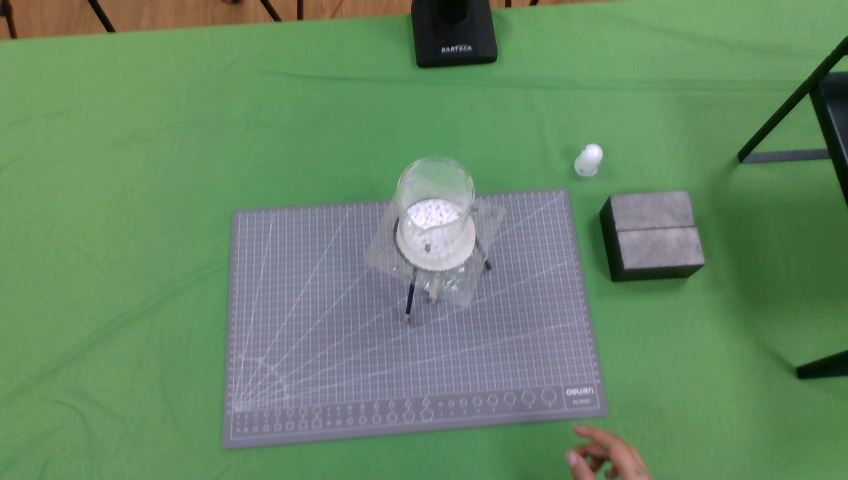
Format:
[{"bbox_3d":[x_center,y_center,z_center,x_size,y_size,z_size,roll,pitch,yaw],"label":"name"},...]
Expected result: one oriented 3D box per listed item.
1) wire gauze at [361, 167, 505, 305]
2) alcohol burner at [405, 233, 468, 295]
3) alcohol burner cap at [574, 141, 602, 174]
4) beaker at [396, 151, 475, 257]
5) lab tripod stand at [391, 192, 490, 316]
[{"bbox_3d":[0.012,-0.008,0.651,0.125,0.011,0.121,24,71,5],"label":"wire gauze"},{"bbox_3d":[0.016,0.023,0.720,0.078,0.120,0.077,1,70,-2],"label":"alcohol burner"},{"bbox_3d":[0.224,-0.114,0.819,0.034,0.048,0.033,0,68,0],"label":"alcohol burner cap"},{"bbox_3d":[0.008,-0.029,0.607,0.074,0.101,0.083,19,69,6],"label":"beaker"},{"bbox_3d":[0.013,0.010,0.715,0.148,0.132,0.147,1,67,-2],"label":"lab tripod stand"}]
